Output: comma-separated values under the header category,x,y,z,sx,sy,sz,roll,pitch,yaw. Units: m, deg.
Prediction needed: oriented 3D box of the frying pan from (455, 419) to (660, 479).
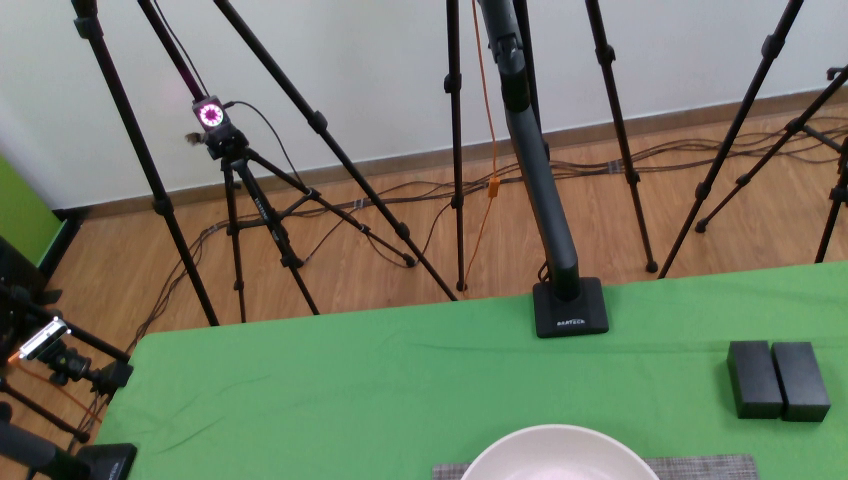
category,x,y,z,sx,sy,sz,roll,pitch,yaw
frying pan,0.157,0.445,0.703,0.306,0.104,0.483,-5,38,15
